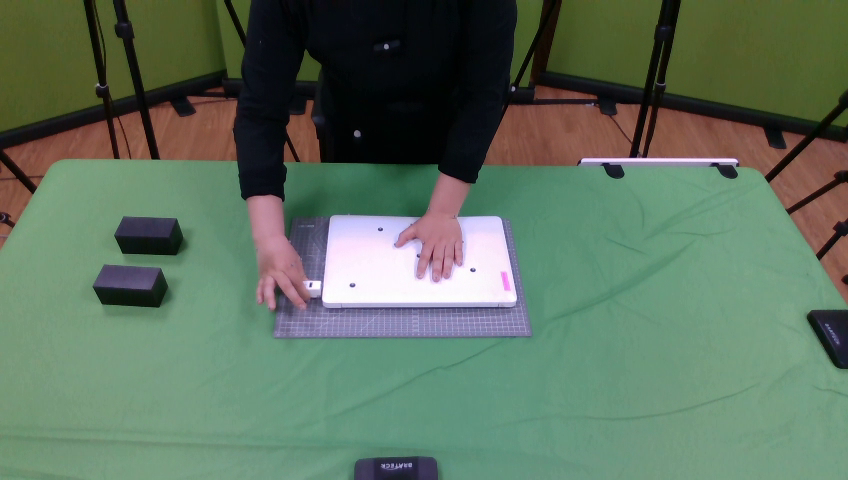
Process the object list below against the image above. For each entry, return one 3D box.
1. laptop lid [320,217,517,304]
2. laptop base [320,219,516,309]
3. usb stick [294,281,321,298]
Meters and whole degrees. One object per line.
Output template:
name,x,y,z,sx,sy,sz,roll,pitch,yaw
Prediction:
laptop lid,-0.012,0.033,1.154,0.357,0.013,0.240,2,43,-3
laptop base,-0.012,0.041,1.159,0.355,0.023,0.234,0,42,-4
usb stick,-0.200,0.088,1.084,0.059,0.027,0.021,3,51,1
